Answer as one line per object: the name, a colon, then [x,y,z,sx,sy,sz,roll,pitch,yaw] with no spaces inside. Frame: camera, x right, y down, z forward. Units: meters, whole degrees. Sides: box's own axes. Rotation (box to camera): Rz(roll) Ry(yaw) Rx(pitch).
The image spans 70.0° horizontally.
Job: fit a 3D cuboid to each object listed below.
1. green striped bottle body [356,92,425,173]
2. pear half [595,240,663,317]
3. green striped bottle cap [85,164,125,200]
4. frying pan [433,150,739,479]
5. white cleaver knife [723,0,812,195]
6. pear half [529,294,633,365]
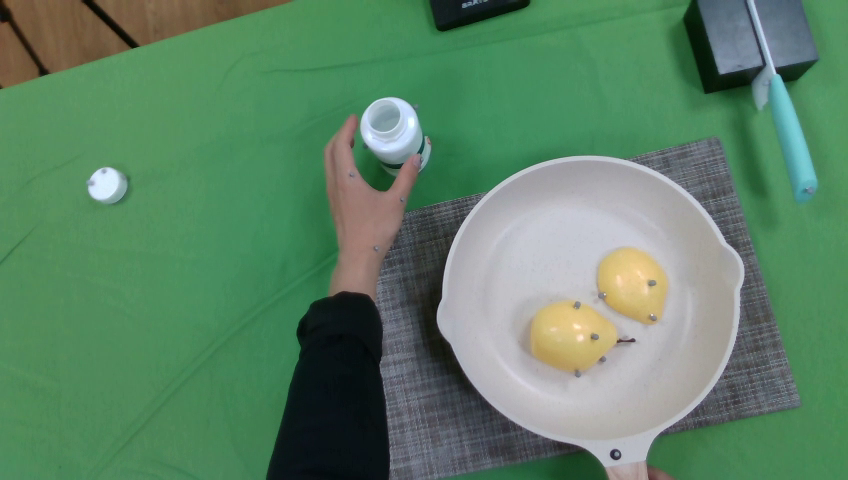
green striped bottle body: [-0.037,-0.121,0.674,0.063,0.120,0.063,-1,80,8]
pear half: [0.224,0.041,0.652,0.070,0.031,0.087,-29,75,7]
green striped bottle cap: [-0.403,-0.073,0.767,0.044,0.020,0.044,-1,80,8]
frying pan: [0.179,0.151,0.606,0.306,0.103,0.484,-11,71,7]
white cleaver knife: [0.365,-0.184,0.657,0.021,0.066,0.285,-11,77,11]
pear half: [0.167,0.095,0.640,0.110,0.056,0.076,0,86,5]
